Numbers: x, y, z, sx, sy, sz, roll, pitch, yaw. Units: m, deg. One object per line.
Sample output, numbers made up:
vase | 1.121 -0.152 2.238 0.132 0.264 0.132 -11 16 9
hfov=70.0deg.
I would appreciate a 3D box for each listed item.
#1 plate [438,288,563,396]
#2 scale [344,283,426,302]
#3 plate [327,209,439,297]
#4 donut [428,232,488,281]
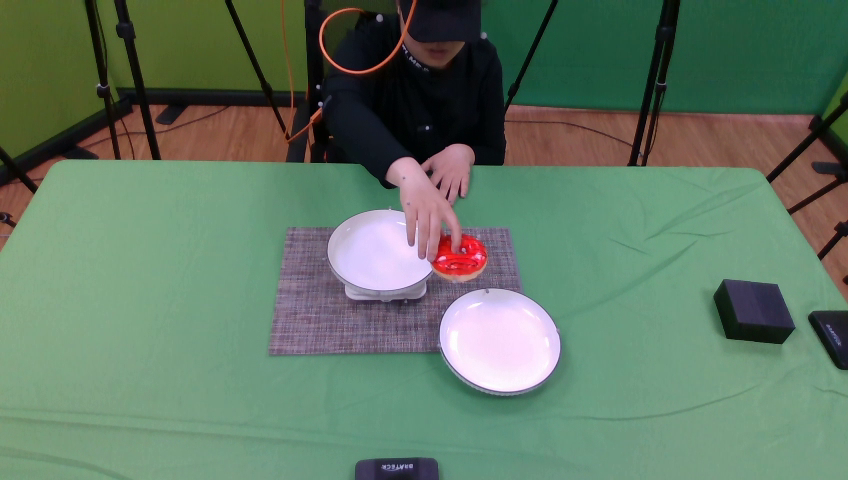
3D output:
plate | 0.127 0.173 1.025 0.209 0.038 0.208 3 48 -3
scale | -0.075 0.033 1.149 0.149 0.032 0.199 0 46 -5
plate | -0.072 0.027 1.110 0.208 0.039 0.206 2 46 -1
donut | 0.056 0.026 0.991 0.099 0.048 0.098 -1 42 2
